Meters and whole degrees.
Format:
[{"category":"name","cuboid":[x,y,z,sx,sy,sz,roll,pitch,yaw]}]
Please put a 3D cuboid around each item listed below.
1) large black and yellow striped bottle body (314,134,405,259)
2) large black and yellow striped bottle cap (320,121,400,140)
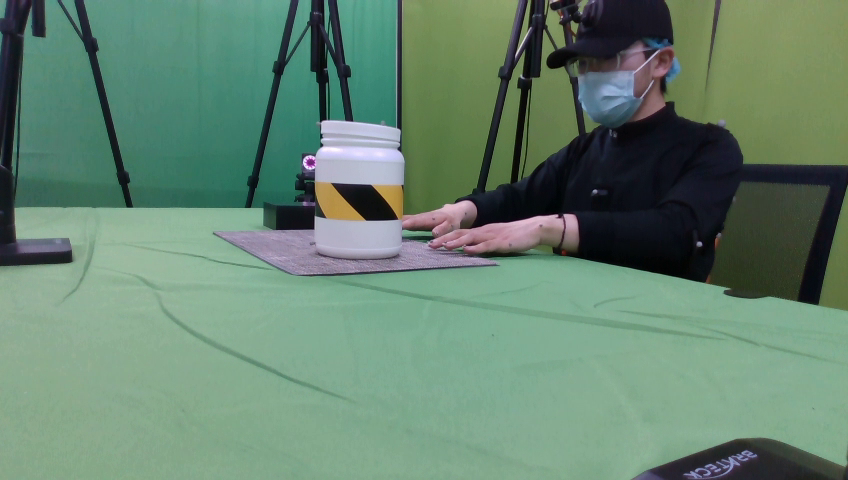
[{"category":"large black and yellow striped bottle body","cuboid":[-0.095,-0.072,0.886,0.131,0.184,0.130,2,8,0]},{"category":"large black and yellow striped bottle cap","cuboid":[-0.091,-0.157,0.873,0.115,0.019,0.115,4,6,0]}]
